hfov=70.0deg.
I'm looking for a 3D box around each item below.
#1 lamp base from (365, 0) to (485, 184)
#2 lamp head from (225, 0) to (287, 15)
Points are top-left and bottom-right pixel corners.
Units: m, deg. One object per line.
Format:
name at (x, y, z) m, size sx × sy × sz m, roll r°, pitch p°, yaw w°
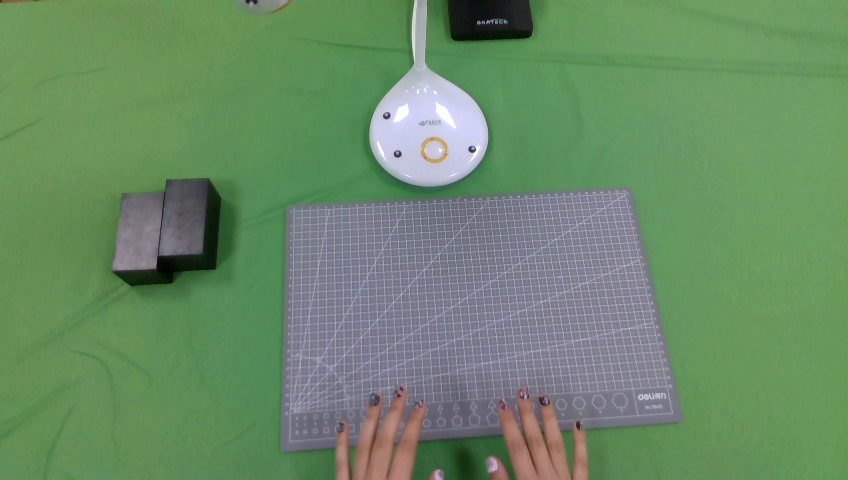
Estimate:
lamp base at (-0.002, -0.188, 0.745) m, size 0.161 × 0.181 × 0.177 m, roll -16°, pitch 66°, yaw -8°
lamp head at (-0.158, -0.265, 0.537) m, size 0.112 × 0.124 × 0.111 m, roll -5°, pitch 69°, yaw 13°
